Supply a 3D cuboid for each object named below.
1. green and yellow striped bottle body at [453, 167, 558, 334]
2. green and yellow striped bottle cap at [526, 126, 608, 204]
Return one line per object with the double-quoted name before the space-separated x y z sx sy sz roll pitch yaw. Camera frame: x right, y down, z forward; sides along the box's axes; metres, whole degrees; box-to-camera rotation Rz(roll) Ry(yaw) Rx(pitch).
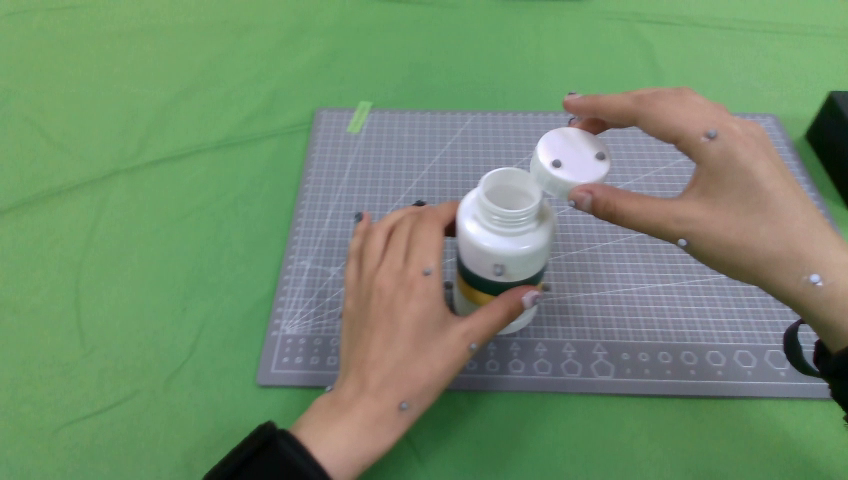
"green and yellow striped bottle body" 0.052 0.007 0.404 0.063 0.121 0.062 0 51 0
"green and yellow striped bottle cap" 0.083 -0.045 0.351 0.045 0.020 0.045 4 57 -5
